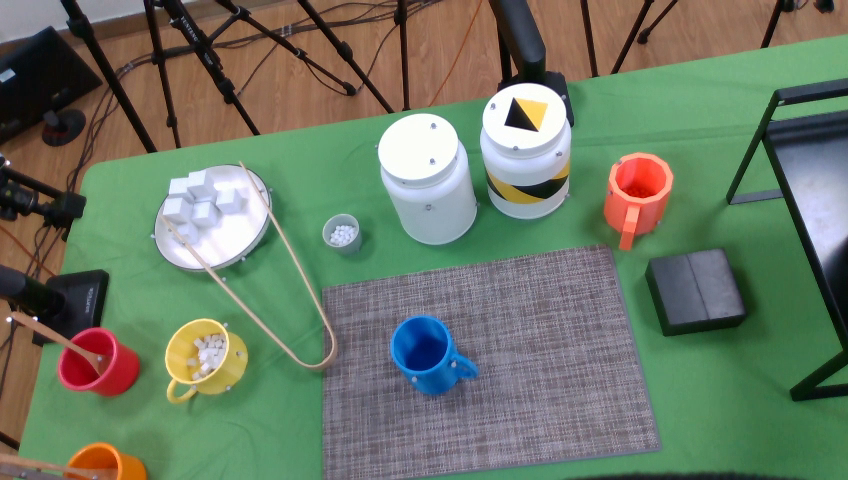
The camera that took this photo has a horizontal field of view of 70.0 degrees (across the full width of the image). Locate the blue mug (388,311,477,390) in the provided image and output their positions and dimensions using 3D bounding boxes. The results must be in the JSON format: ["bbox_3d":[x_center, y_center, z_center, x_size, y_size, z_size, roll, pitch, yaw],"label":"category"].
[{"bbox_3d":[0.017,0.158,0.830,0.116,0.107,0.082,15,67,18],"label":"blue mug"}]

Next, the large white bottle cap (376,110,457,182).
[{"bbox_3d":[-0.011,-0.132,0.846,0.114,0.018,0.114,-5,63,9],"label":"large white bottle cap"}]

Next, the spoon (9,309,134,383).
[{"bbox_3d":[-0.533,0.157,0.919,0.195,0.021,0.041,39,69,-20],"label":"spoon"}]

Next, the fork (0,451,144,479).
[{"bbox_3d":[-0.493,0.311,0.829,0.209,0.018,0.028,23,60,-27],"label":"fork"}]

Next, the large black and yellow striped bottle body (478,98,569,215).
[{"bbox_3d":[0.151,-0.134,0.913,0.130,0.186,0.129,-5,62,9],"label":"large black and yellow striped bottle body"}]

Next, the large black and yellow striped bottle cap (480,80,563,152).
[{"bbox_3d":[0.135,-0.174,0.840,0.115,0.019,0.114,-4,63,8],"label":"large black and yellow striped bottle cap"}]

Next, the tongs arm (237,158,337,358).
[{"bbox_3d":[-0.224,0.016,0.972,0.028,0.028,0.384,-27,68,-12],"label":"tongs arm"}]

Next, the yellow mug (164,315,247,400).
[{"bbox_3d":[-0.338,0.184,0.913,0.099,0.064,0.130,28,72,22],"label":"yellow mug"}]

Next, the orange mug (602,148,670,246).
[{"bbox_3d":[0.307,-0.059,0.894,0.083,0.102,0.125,12,62,17],"label":"orange mug"}]

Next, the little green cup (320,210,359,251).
[{"bbox_3d":[-0.135,-0.013,0.990,0.061,0.039,0.061,-4,64,9],"label":"little green cup"}]

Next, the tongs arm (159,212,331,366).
[{"bbox_3d":[-0.290,0.067,0.957,0.050,0.027,0.382,-42,70,-14],"label":"tongs arm"}]

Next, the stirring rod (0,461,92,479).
[{"bbox_3d":[-0.483,0.327,0.822,0.006,0.177,0.014,-41,34,38],"label":"stirring rod"}]

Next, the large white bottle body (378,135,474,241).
[{"bbox_3d":[0.004,-0.094,0.920,0.130,0.186,0.129,-4,62,9],"label":"large white bottle body"}]

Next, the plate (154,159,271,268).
[{"bbox_3d":[-0.361,-0.043,1.049,0.207,0.039,0.206,-4,63,9],"label":"plate"}]
